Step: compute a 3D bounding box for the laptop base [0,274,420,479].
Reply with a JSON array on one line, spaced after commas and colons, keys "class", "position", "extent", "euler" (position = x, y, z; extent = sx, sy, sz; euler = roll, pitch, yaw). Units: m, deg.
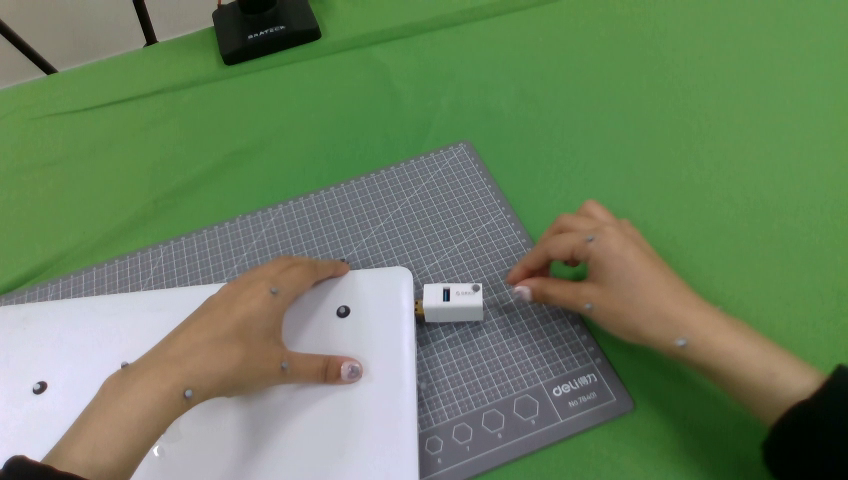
[{"class": "laptop base", "position": [-0.177, 0.140, 0.427], "extent": [0.354, 0.023, 0.233], "euler": [-6, 55, 4]}]

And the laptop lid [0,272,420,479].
[{"class": "laptop lid", "position": [-0.179, 0.135, 0.417], "extent": [0.356, 0.013, 0.239], "euler": [-5, 54, 5]}]

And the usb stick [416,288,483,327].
[{"class": "usb stick", "position": [0.015, 0.051, 0.453], "extent": [0.059, 0.027, 0.021], "euler": [-3, 53, 8]}]
